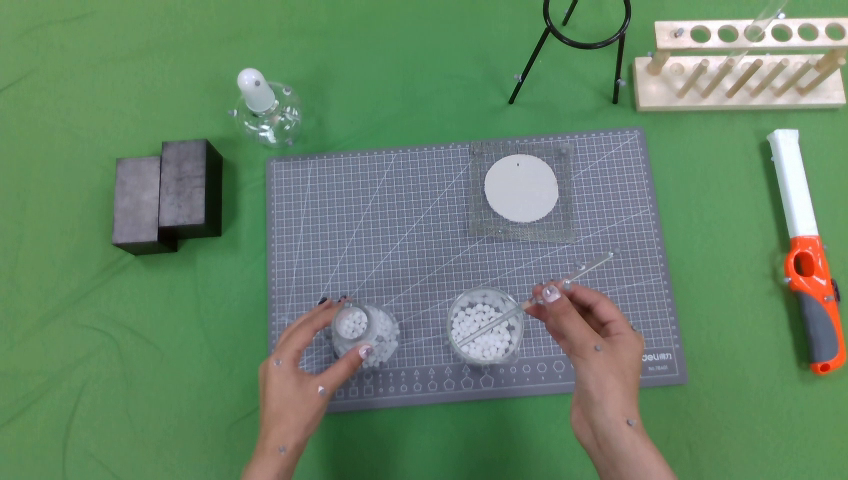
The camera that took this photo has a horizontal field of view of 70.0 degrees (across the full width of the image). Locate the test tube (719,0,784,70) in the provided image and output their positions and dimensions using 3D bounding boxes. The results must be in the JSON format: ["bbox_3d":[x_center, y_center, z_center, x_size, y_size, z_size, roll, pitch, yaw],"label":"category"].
[{"bbox_3d":[0.352,-0.226,0.651,0.017,0.151,0.017,-1,75,4],"label":"test tube"}]

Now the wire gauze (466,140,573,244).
[{"bbox_3d":[0.111,-0.059,0.703,0.125,0.011,0.121,4,76,-1],"label":"wire gauze"}]

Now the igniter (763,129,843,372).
[{"bbox_3d":[0.419,0.006,0.672,0.057,0.025,0.275,-1,76,-9],"label":"igniter"}]

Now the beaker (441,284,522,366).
[{"bbox_3d":[0.059,0.093,0.618,0.074,0.101,0.083,-40,78,-8],"label":"beaker"}]

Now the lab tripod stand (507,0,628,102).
[{"bbox_3d":[0.163,-0.218,0.680,0.148,0.132,0.147,0,78,2],"label":"lab tripod stand"}]

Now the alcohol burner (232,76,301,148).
[{"bbox_3d":[-0.182,-0.151,0.681,0.078,0.119,0.077,-1,76,3],"label":"alcohol burner"}]

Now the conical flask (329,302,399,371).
[{"bbox_3d":[-0.066,0.091,0.610,0.075,0.122,0.075,0,75,2],"label":"conical flask"}]

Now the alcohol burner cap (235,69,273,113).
[{"bbox_3d":[-0.183,-0.163,0.647,0.034,0.048,0.033,0,69,1],"label":"alcohol burner cap"}]

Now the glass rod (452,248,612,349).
[{"bbox_3d":[0.087,0.057,0.539,0.008,0.200,0.008,24,46,-28],"label":"glass rod"}]

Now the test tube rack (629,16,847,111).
[{"bbox_3d":[0.371,-0.200,0.695,0.242,0.085,0.066,-1,75,1],"label":"test tube rack"}]
